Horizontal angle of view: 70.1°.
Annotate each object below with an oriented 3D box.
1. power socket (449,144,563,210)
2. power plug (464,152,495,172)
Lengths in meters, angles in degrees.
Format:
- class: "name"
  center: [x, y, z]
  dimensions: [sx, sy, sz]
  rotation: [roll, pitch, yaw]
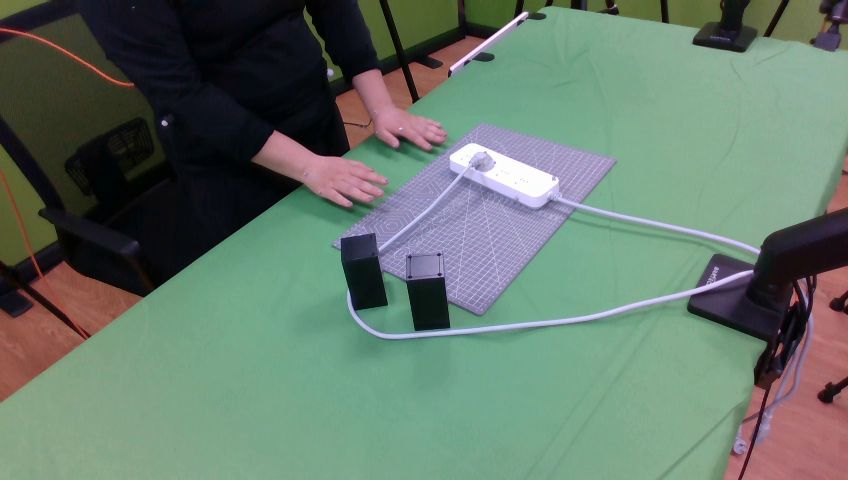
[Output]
- class: "power socket"
  center: [0.139, -0.115, 1.072]
  dimensions: [0.225, 0.033, 0.072]
  rotation: [30, 53, 35]
- class: "power plug"
  center: [0.093, -0.127, 1.065]
  dimensions: [0.073, 0.053, 0.035]
  rotation: [-29, 44, -21]
